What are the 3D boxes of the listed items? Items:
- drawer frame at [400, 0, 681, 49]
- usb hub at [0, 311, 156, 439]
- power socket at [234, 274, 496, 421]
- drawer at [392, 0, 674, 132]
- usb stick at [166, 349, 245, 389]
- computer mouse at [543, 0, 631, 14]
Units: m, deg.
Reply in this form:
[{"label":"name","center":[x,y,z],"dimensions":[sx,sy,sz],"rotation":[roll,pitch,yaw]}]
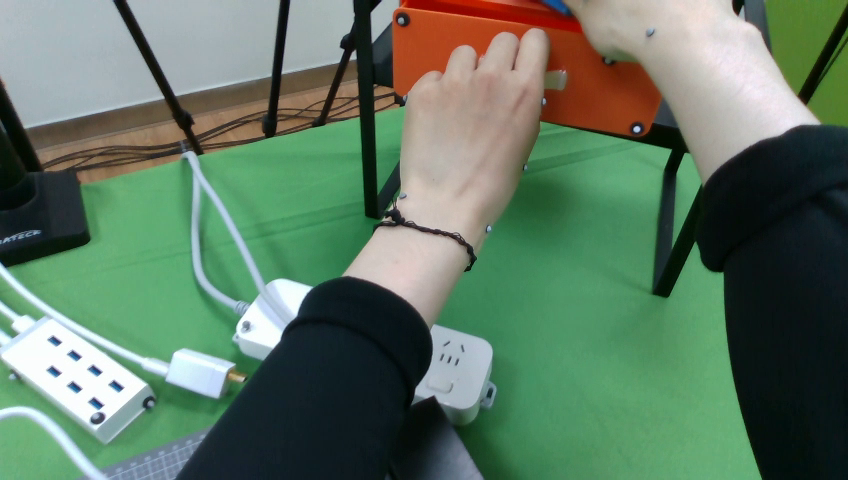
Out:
[{"label":"drawer frame","center":[0.102,-0.210,0.522],"dimensions":[0.201,0.083,0.212],"rotation":[10,45,7]},{"label":"usb hub","center":[-0.277,0.104,0.480],"dimensions":[0.124,0.025,0.049],"rotation":[25,49,21]},{"label":"power socket","center":[-0.049,0.087,0.507],"dimensions":[0.226,0.033,0.072],"rotation":[15,46,12]},{"label":"drawer","center":[0.095,-0.189,0.500],"dimensions":[0.194,0.074,0.210],"rotation":[11,46,8]},{"label":"usb stick","center":[-0.173,0.104,0.485],"dimensions":[0.059,0.021,0.027],"rotation":[11,88,-12]},{"label":"computer mouse","center":[0.097,-0.199,0.436],"dimensions":[0.063,0.041,0.116],"rotation":[-15,41,-25]}]
